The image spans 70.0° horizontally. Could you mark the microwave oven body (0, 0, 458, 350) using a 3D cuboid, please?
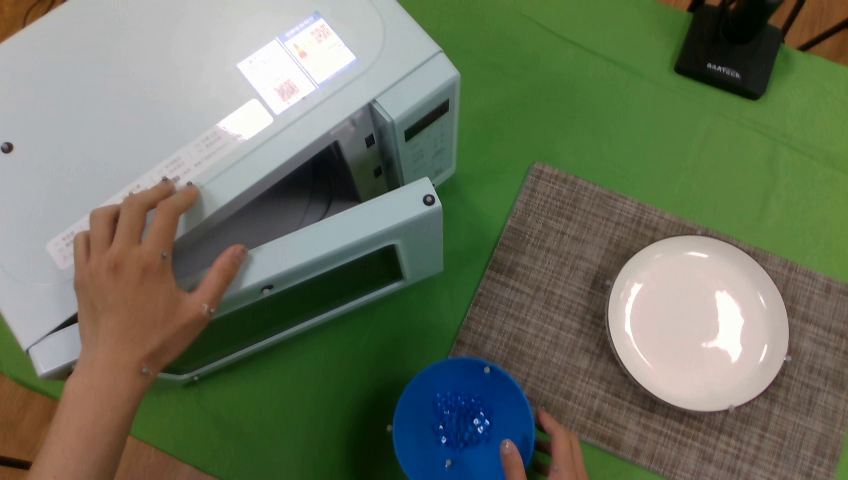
[{"bbox_3d":[-0.233,-0.114,0.662,0.441,0.261,0.324,-38,78,-8],"label":"microwave oven body"}]

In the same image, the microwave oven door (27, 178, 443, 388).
[{"bbox_3d":[-0.150,0.056,0.610,0.356,0.245,0.039,-23,74,-5],"label":"microwave oven door"}]

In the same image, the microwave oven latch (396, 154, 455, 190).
[{"bbox_3d":[0.001,-0.086,0.750,0.079,0.029,0.030,-36,77,-7],"label":"microwave oven latch"}]

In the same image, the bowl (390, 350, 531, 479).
[{"bbox_3d":[0.041,0.202,0.672,0.151,0.077,0.150,-1,74,4],"label":"bowl"}]

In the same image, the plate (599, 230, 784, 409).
[{"bbox_3d":[0.308,0.092,0.711,0.208,0.039,0.206,0,75,1],"label":"plate"}]
